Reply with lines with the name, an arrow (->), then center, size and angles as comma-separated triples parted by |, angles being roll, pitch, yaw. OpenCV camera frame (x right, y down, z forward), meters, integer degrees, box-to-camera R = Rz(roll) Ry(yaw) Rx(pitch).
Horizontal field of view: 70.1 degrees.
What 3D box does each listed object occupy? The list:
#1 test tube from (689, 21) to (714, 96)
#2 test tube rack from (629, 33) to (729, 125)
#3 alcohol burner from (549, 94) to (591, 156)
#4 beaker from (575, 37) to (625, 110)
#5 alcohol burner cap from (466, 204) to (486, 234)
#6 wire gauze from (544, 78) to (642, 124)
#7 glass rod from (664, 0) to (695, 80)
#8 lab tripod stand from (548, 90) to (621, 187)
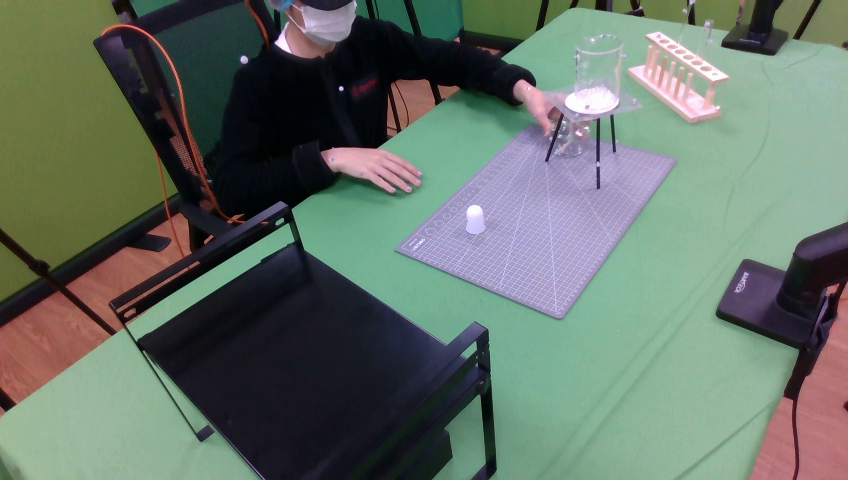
test tube -> 0.541, -0.353, 1.184 | 0.017, 0.151, 0.017 | -2, 40, 2
test tube rack -> 0.516, -0.337, 1.247 | 0.067, 0.085, 0.240 | -14, 41, -7
alcohol burner -> 0.271, -0.217, 1.119 | 0.078, 0.119, 0.077 | -4, 42, 4
beaker -> 0.283, -0.271, 0.988 | 0.074, 0.101, 0.083 | -10, 39, 1
alcohol burner cap -> 0.085, -0.037, 0.993 | 0.034, 0.048, 0.033 | -4, 40, 4
wire gauze -> 0.282, -0.234, 1.022 | 0.125, 0.011, 0.120 | -17, 38, -4
glass rod -> 0.523, -0.415, 1.235 | 0.008, 0.200, 0.008 | 1, 46, -1
lab tripod stand -> 0.289, -0.184, 1.062 | 0.148, 0.132, 0.147 | -6, 41, 6
